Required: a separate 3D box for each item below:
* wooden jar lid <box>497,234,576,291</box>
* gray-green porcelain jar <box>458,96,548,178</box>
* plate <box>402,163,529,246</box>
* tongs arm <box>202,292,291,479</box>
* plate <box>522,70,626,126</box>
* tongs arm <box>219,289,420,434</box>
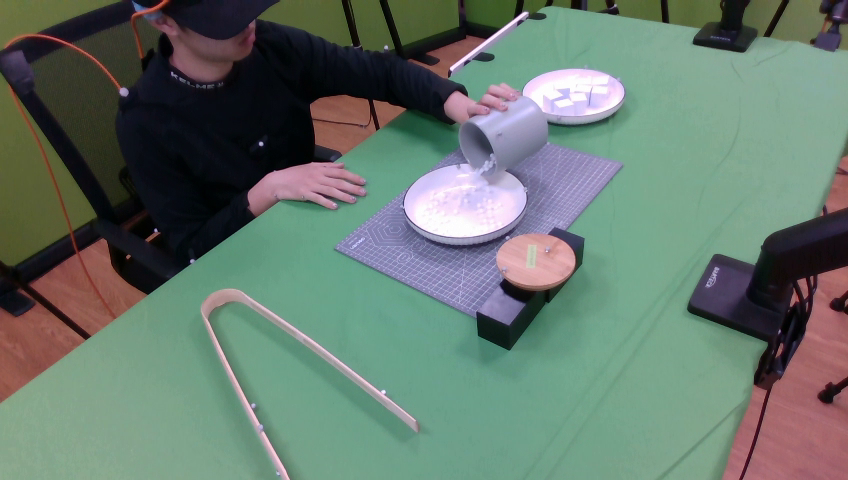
[{"bbox_3d":[0.155,0.032,0.834,0.108,0.021,0.108,-5,40,4],"label":"wooden jar lid"},{"bbox_3d":[0.139,-0.180,1.032,0.127,0.106,0.105,-31,45,-21],"label":"gray-green porcelain jar"},{"bbox_3d":[0.069,-0.056,1.008,0.209,0.038,0.208,-4,40,4],"label":"plate"},{"bbox_3d":[-0.216,0.187,0.772,0.051,0.026,0.381,-27,43,-24],"label":"tongs arm"},{"bbox_3d":[0.308,-0.289,1.251,0.207,0.039,0.206,-4,40,4],"label":"plate"},{"bbox_3d":[-0.152,0.151,0.811,0.384,0.028,0.028,26,53,33],"label":"tongs arm"}]
